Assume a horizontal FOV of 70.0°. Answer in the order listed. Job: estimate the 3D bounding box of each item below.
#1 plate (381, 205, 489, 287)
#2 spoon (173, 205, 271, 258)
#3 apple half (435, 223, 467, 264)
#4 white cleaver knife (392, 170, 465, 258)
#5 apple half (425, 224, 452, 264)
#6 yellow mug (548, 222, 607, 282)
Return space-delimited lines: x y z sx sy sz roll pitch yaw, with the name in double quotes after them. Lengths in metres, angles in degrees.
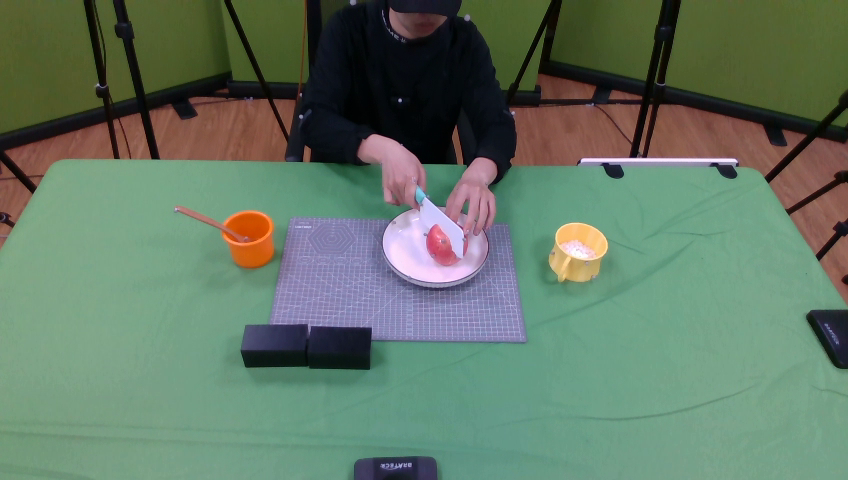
0.021 0.015 1.170 0.209 0.038 0.208 2 46 -2 "plate"
-0.362 -0.017 1.098 0.021 0.195 0.041 -32 42 27 "spoon"
0.053 0.003 1.147 0.053 0.075 0.080 -15 42 -29 "apple half"
0.002 -0.056 1.162 0.021 0.066 0.284 -10 35 -25 "white cleaver knife"
0.020 0.014 1.132 0.033 0.081 0.081 -18 50 -24 "apple half"
0.287 0.031 1.159 0.099 0.064 0.130 27 51 21 "yellow mug"
